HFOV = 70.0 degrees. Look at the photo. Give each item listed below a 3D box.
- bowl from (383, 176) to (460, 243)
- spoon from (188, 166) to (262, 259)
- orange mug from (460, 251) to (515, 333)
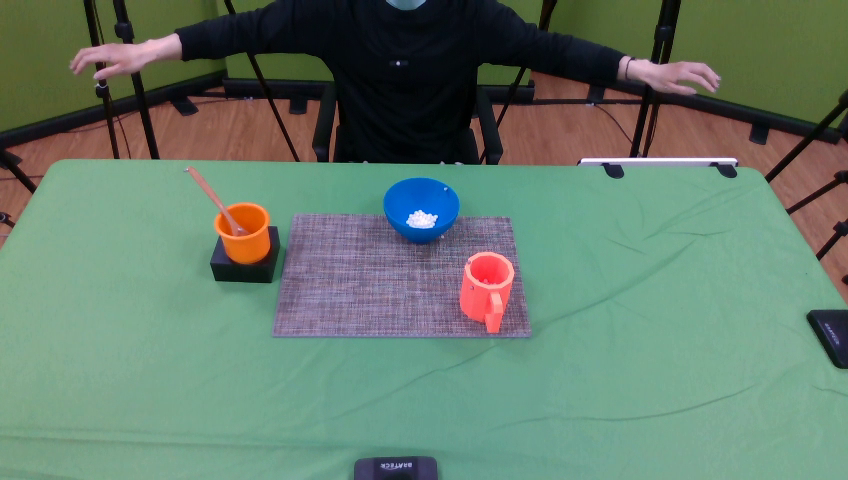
[{"bbox_3d":[-0.006,-0.048,1.197,0.151,0.077,0.150,2,46,-2],"label":"bowl"},{"bbox_3d":[-0.349,-0.048,1.061,0.041,0.194,0.021,-40,16,-31],"label":"spoon"},{"bbox_3d":[0.114,0.094,1.053,0.083,0.101,0.125,-5,42,-8],"label":"orange mug"}]
